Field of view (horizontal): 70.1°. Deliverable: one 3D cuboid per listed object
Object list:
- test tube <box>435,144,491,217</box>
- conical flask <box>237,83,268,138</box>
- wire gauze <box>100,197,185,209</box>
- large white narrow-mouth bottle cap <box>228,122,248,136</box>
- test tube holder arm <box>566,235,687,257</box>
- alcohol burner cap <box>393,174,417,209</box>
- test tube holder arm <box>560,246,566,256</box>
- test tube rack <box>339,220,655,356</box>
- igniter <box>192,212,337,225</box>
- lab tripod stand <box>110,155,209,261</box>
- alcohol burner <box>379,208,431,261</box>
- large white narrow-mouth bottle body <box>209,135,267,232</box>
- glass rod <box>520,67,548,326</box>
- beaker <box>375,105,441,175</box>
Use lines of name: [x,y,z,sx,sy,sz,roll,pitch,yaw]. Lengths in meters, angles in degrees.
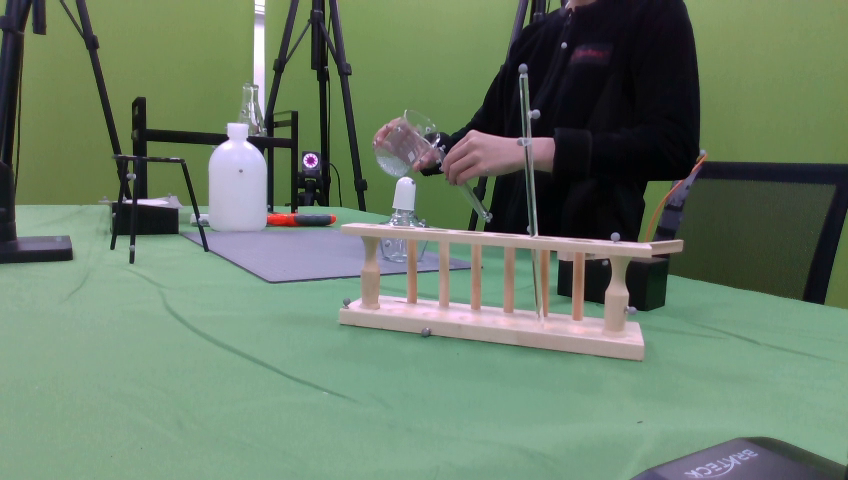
test tube: [0.061,-0.094,0.946,0.017,0.017,0.149,-6,54,-47]
conical flask: [-0.402,-0.299,1.406,0.075,0.122,0.075,2,7,0]
wire gauze: [-0.469,-0.062,1.008,0.126,0.011,0.121,-2,8,-25]
large white narrow-mouth bottle cap: [-0.338,-0.200,1.097,0.038,0.024,0.037,2,8,0]
test tube holder arm: [0.215,0.006,0.630,0.179,0.015,0.013,-3,9,-31]
alcohol burner cap: [-0.025,-0.067,0.834,0.034,0.048,0.034,8,7,-1]
test tube holder arm: [0.173,0.007,0.611,0.088,0.015,0.010,-3,9,-30]
test tube rack: [0.056,0.032,0.495,0.242,0.085,0.067,4,7,15]
igniter: [-0.312,-0.043,1.203,0.278,0.025,0.057,-1,-5,-25]
lab tripod stand: [-0.361,-0.046,0.806,0.148,0.131,0.148,2,5,0]
alcohol burner: [-0.027,-0.031,0.838,0.078,0.119,0.078,0,6,0]
large white narrow-mouth bottle body: [-0.340,-0.115,1.109,0.102,0.194,0.102,2,8,0]
glass rod: [0.084,-0.029,0.458,0.008,0.199,0.008,-6,11,2]
beaker: [-0.028,-0.163,1.019,0.074,0.083,0.100,-13,-26,-52]
